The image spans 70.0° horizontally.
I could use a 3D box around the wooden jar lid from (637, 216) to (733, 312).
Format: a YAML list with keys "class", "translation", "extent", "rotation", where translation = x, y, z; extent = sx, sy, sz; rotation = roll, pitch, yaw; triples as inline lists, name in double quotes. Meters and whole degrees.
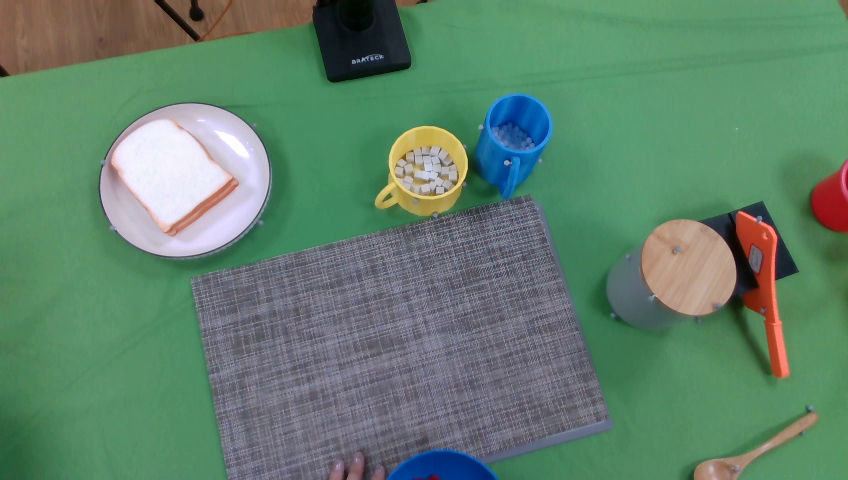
- class: "wooden jar lid"
  translation: [0.285, 0.027, 0.668]
  extent: [0.108, 0.021, 0.108]
  rotation: [2, 76, -6]

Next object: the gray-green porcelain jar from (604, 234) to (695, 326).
- class: "gray-green porcelain jar"
  translation: [0.282, 0.045, 0.728]
  extent: [0.106, 0.127, 0.105]
  rotation: [1, 74, -4]

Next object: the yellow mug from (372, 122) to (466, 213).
- class: "yellow mug"
  translation: [-0.011, -0.083, 0.774]
  extent: [0.131, 0.064, 0.099]
  rotation: [-35, 78, -11]

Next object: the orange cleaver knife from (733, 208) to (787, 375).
- class: "orange cleaver knife"
  translation: [0.417, 0.064, 0.755]
  extent: [0.012, 0.077, 0.212]
  rotation: [-16, 102, -8]

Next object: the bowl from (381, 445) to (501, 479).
- class: "bowl"
  translation: [0.015, 0.301, 0.662]
  extent: [0.151, 0.077, 0.150]
  rotation: [1, 74, -3]

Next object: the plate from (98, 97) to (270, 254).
- class: "plate"
  translation: [-0.298, -0.080, 0.767]
  extent: [0.208, 0.039, 0.206]
  rotation: [1, 74, -4]

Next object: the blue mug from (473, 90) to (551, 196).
- class: "blue mug"
  translation: [0.108, -0.114, 0.772]
  extent: [0.082, 0.106, 0.116]
  rotation: [6, 74, -2]

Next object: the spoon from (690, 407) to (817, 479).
- class: "spoon"
  translation: [0.403, 0.249, 0.733]
  extent: [0.194, 0.022, 0.041]
  rotation: [-24, 59, -10]
